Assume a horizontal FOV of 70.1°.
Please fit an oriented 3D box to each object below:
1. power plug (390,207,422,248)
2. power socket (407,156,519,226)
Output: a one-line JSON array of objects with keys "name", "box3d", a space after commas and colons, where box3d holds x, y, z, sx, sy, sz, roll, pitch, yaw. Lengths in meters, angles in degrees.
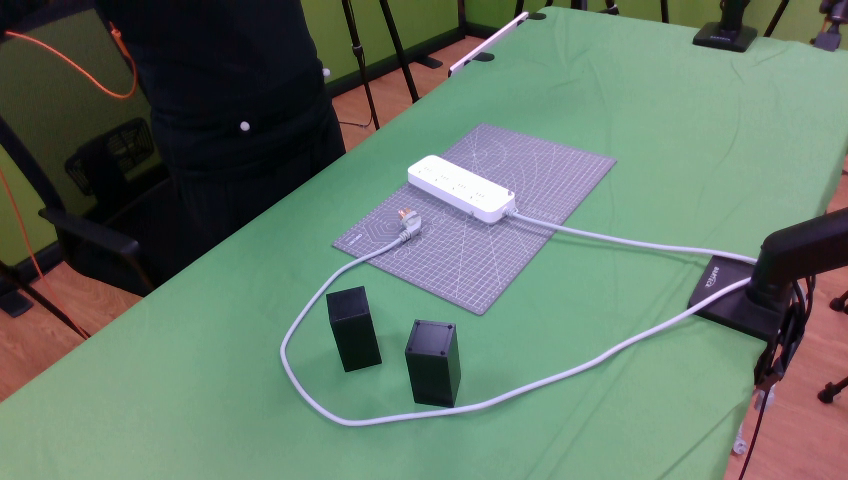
[{"name": "power plug", "box3d": [-0.035, -0.026, 0.985, 0.073, 0.035, 0.052, -24, 61, -35]}, {"name": "power socket", "box3d": [0.061, -0.089, 1.053, 0.072, 0.033, 0.225, -36, 49, -29]}]
